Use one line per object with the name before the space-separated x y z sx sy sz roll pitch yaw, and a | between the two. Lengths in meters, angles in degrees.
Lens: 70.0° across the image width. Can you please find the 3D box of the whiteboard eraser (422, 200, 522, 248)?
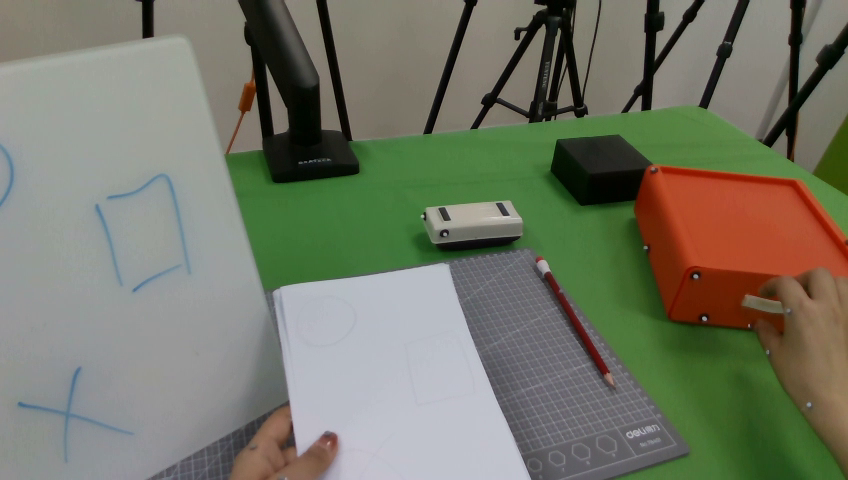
whiteboard eraser | 0.057 -0.018 0.728 0.113 0.042 0.055 -5 38 -13

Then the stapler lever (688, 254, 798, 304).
stapler lever | 0.339 0.041 0.640 0.118 0.040 0.026 8 43 -2

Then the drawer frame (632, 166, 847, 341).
drawer frame | 0.362 0.007 0.694 0.201 0.083 0.211 5 35 2

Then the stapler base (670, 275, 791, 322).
stapler base | 0.334 0.057 0.654 0.131 0.024 0.041 11 43 -5

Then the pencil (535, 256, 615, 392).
pencil | 0.153 0.080 0.626 0.012 0.012 0.192 -5 40 -13

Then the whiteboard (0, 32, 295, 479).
whiteboard | -0.259 0.021 0.459 0.217 0.307 0.142 -24 26 -33

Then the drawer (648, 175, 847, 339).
drawer | 0.363 0.010 0.692 0.194 0.074 0.210 6 35 3

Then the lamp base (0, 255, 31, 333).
lamp base | -0.467 -0.002 0.523 0.178 0.182 0.160 15 37 17
